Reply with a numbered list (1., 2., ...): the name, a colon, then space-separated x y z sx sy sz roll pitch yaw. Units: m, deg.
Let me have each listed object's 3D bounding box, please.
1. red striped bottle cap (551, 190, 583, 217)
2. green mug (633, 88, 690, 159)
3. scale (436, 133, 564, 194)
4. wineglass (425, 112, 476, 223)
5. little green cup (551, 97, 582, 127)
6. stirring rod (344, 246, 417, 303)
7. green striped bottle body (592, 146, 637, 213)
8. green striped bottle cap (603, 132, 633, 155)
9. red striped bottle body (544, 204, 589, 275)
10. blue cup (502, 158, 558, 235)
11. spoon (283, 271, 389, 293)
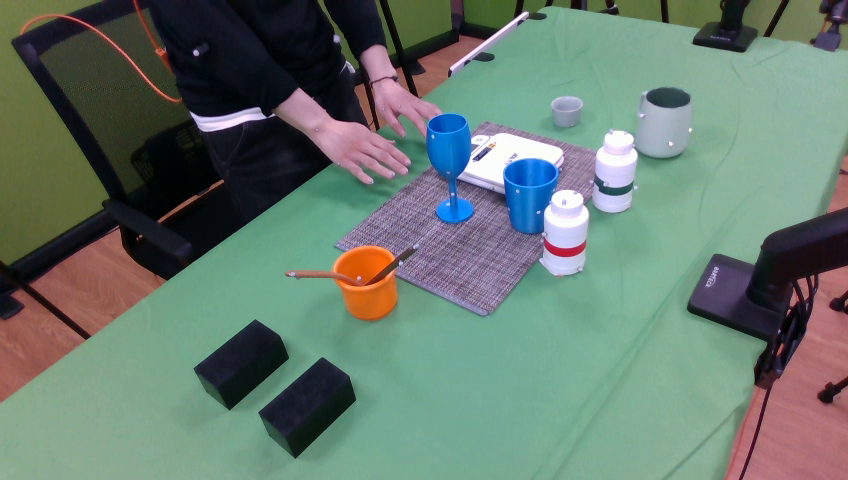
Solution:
1. red striped bottle cap: 0.200 -0.052 0.843 0.044 0.018 0.044 -2 41 2
2. green mug: 0.423 -0.217 1.099 0.093 0.105 0.124 -16 41 -10
3. scale: 0.137 -0.142 1.101 0.199 0.032 0.149 22 48 30
4. wineglass: 0.043 -0.114 0.972 0.074 0.173 0.073 -4 41 4
5. little green cup: 0.284 -0.255 1.213 0.061 0.039 0.061 -4 41 4
6. stirring rod: -0.062 0.050 0.819 0.014 0.175 0.006 -1 63 -40
7. green striped bottle body: 0.307 -0.108 0.976 0.063 0.120 0.063 -4 41 4
8. green striped bottle cap: 0.302 -0.149 0.939 0.044 0.020 0.044 -3 40 3
9. red striped bottle body: 0.206 -0.011 0.877 0.063 0.120 0.062 -4 41 4
10. blue cup: 0.168 -0.064 0.954 0.092 0.100 0.092 -5 38 5
11. spoon: -0.117 0.054 0.824 0.041 0.195 0.021 17 89 38
